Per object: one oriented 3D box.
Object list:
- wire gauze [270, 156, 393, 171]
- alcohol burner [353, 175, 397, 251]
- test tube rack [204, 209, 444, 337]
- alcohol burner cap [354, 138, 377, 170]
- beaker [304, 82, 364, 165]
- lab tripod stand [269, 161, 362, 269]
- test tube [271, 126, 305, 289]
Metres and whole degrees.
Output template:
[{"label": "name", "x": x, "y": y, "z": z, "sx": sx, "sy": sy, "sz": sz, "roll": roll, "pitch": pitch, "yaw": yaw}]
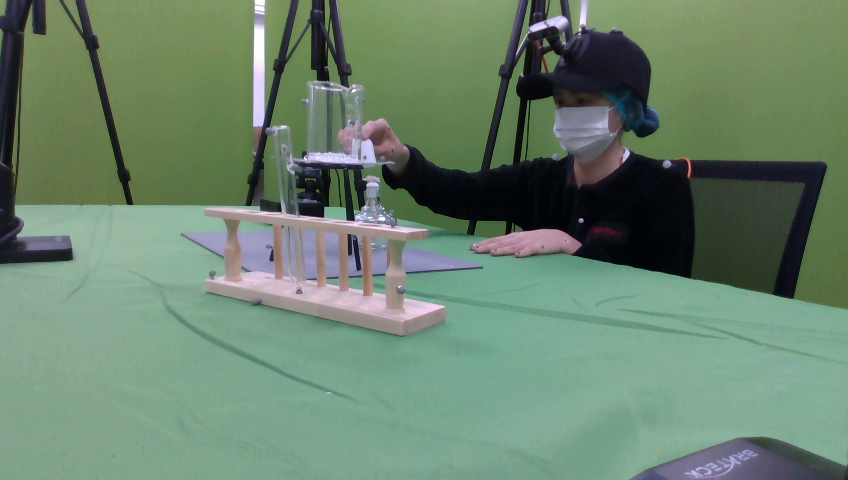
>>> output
[{"label": "wire gauze", "x": -0.122, "y": -0.100, "z": 0.786, "sx": 0.122, "sy": 0.011, "sz": 0.124, "roll": -5, "pitch": 14, "yaw": -38}, {"label": "alcohol burner", "x": -0.082, "y": -0.043, "z": 0.950, "sx": 0.078, "sy": 0.119, "sz": 0.078, "roll": 1, "pitch": 8, "yaw": 0}, {"label": "test tube rack", "x": -0.100, "y": 0.021, "z": 0.565, "sx": 0.241, "sy": 0.085, "sz": 0.067, "roll": 7, "pitch": 9, "yaw": 32}, {"label": "alcohol burner cap", "x": -0.093, "y": -0.136, "z": 0.946, "sx": 0.034, "sy": 0.048, "sz": 0.034, "roll": -10, "pitch": -5, "yaw": -1}, {"label": "beaker", "x": -0.115, "y": -0.148, "z": 0.779, "sx": 0.074, "sy": 0.100, "sz": 0.083, "roll": -2, "pitch": 10, "yaw": -30}, {"label": "lab tripod stand", "x": -0.125, "y": -0.036, "z": 0.794, "sx": 0.148, "sy": 0.131, "sz": 0.148, "roll": 5, "pitch": 7, "yaw": 0}, {"label": "test tube", "x": -0.124, "y": -0.028, "z": 0.554, "sx": 0.017, "sy": 0.150, "sz": 0.017, "roll": -5, "pitch": 7, "yaw": 1}]
